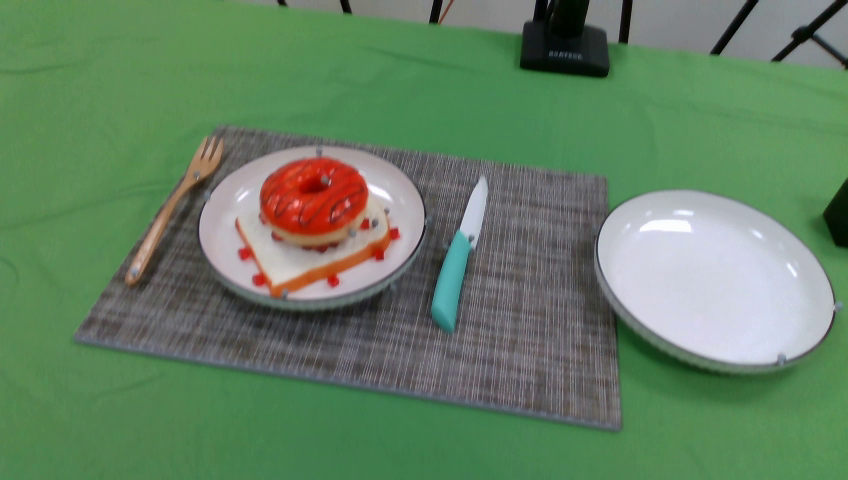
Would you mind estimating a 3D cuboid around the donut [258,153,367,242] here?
[{"bbox_3d":[-0.100,-0.040,0.549,0.099,0.048,0.098,2,46,-2],"label":"donut"}]

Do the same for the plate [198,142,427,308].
[{"bbox_3d":[-0.103,-0.016,0.575,0.209,0.038,0.207,2,47,-1],"label":"plate"}]

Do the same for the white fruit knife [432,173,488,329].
[{"bbox_3d":[0.039,-0.001,0.587,0.027,0.016,0.206,32,45,-13],"label":"white fruit knife"}]

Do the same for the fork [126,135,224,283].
[{"bbox_3d":[-0.244,-0.039,0.600,0.028,0.019,0.205,13,45,-2],"label":"fork"}]

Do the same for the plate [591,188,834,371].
[{"bbox_3d":[0.255,0.034,0.555,0.208,0.039,0.205,2,46,-2],"label":"plate"}]

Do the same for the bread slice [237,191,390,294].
[{"bbox_3d":[-0.100,-0.011,0.574,0.132,0.019,0.104,-24,53,-22],"label":"bread slice"}]
